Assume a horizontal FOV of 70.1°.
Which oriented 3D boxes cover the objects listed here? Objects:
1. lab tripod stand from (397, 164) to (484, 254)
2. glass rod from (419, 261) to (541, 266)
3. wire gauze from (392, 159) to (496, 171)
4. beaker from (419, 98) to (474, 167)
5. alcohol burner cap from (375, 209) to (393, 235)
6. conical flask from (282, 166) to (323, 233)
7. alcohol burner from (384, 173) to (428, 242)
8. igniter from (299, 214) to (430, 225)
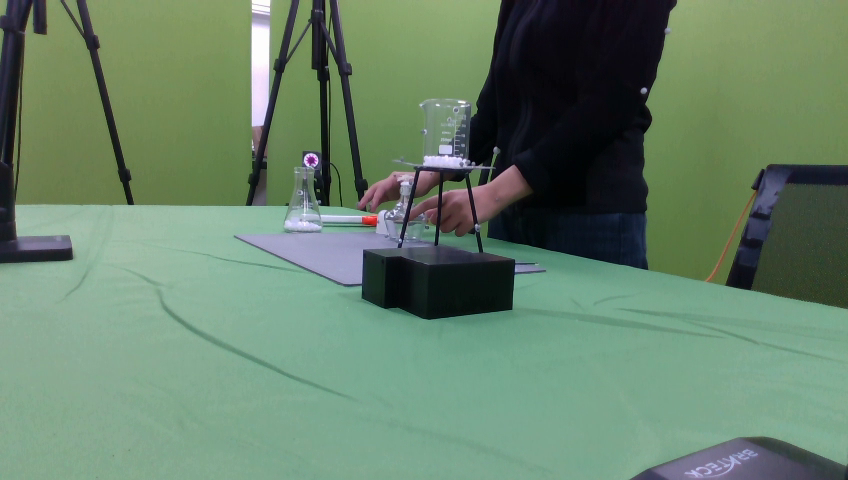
[{"bbox_3d":[0.030,-0.049,0.930,0.148,0.131,0.148,4,6,0],"label":"lab tripod stand"},{"bbox_3d":[0.080,0.031,0.807,0.201,0.008,0.008,1,6,-32],"label":"glass rod"},{"bbox_3d":[0.032,-0.114,0.923,0.124,0.011,0.122,5,5,32],"label":"wire gauze"},{"bbox_3d":[0.032,-0.161,0.913,0.084,0.100,0.074,1,7,-10],"label":"beaker"},{"bbox_3d":[-0.075,-0.036,1.150,0.034,0.048,0.034,3,10,0],"label":"alcohol burner cap"},{"bbox_3d":[-0.225,-0.076,1.129,0.075,0.122,0.075,2,8,0],"label":"conical flask"},{"bbox_3d":[-0.031,-0.057,1.052,0.078,0.119,0.078,2,10,0],"label":"alcohol burner"},{"bbox_3d":[-0.123,-0.044,1.281,0.278,0.025,0.057,0,-2,-19],"label":"igniter"}]
